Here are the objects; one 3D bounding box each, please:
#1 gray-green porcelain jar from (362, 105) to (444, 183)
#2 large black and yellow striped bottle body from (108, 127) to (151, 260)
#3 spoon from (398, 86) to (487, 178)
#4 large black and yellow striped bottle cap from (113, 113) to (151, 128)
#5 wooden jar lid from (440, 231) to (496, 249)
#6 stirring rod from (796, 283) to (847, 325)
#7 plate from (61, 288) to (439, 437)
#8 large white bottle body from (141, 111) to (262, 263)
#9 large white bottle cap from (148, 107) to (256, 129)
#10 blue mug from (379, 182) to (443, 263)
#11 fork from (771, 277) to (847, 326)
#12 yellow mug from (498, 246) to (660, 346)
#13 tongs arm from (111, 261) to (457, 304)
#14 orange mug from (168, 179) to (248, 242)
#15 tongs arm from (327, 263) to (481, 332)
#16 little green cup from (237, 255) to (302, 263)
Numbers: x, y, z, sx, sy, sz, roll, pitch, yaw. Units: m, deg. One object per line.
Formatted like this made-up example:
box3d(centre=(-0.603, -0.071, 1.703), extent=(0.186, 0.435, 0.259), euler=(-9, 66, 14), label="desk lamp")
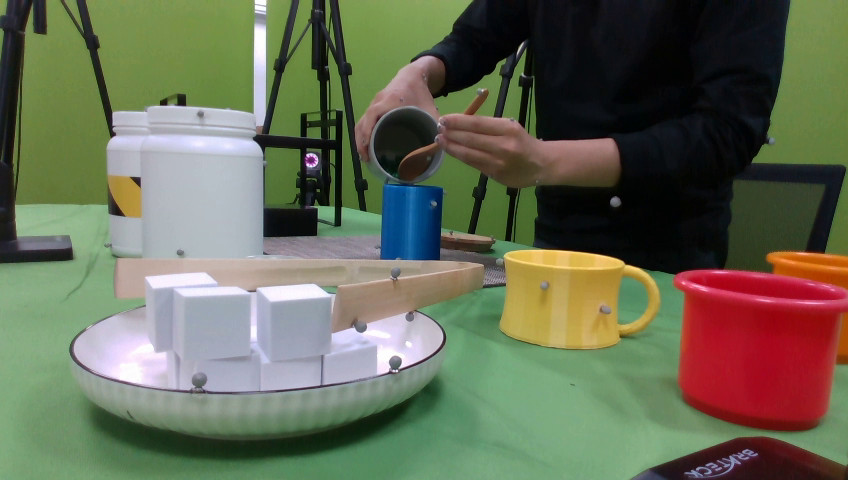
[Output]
box3d(centre=(-0.035, -0.135, 0.883), extent=(0.106, 0.105, 0.126), euler=(1, 3, -12), label="gray-green porcelain jar")
box3d(centre=(-0.350, -0.071, 0.812), extent=(0.131, 0.184, 0.130), euler=(2, 7, 0), label="large black and yellow striped bottle body")
box3d(centre=(0.023, -0.130, 0.759), extent=(0.042, 0.021, 0.193), euler=(3, -24, -34), label="spoon")
box3d(centre=(-0.348, -0.154, 0.800), extent=(0.115, 0.019, 0.115), euler=(2, 6, 0), label="large black and yellow striped bottle cap")
box3d(centre=(0.066, 0.000, 1.011), extent=(0.108, 0.020, 0.108), euler=(6, 7, 0), label="wooden jar lid")
box3d(centre=(0.346, 0.019, 0.460), extent=(0.014, 0.176, 0.006), euler=(-16, 59, -26), label="stirring rod")
box3d(centre=(-0.095, 0.069, 0.362), extent=(0.208, 0.039, 0.207), euler=(3, 7, 0), label="plate")
box3d(centre=(-0.254, -0.053, 0.697), extent=(0.131, 0.184, 0.130), euler=(2, 7, 0), label="large white bottle body")
box3d(centre=(-0.250, -0.137, 0.686), extent=(0.115, 0.018, 0.115), euler=(2, 8, 0), label="large white bottle cap")
box3d(centre=(-0.019, -0.026, 0.833), extent=(0.082, 0.106, 0.116), euler=(2, 7, -7), label="blue mug")
box3d(centre=(0.335, 0.018, 0.443), extent=(0.028, 0.018, 0.207), euler=(-1, -36, -20), label="fork")
box3d(centre=(0.130, 0.045, 0.508), extent=(0.131, 0.064, 0.100), euler=(4, 7, 6), label="yellow mug")
box3d(centre=(-0.080, 0.032, 0.527), extent=(0.028, 0.027, 0.389), euler=(-3, -3, 33), label="tongs arm")
box3d(centre=(-0.351, -0.050, 0.986), extent=(0.126, 0.101, 0.083), euler=(-4, 8, -9), label="orange mug")
box3d(centre=(-0.003, 0.036, 0.493), extent=(0.050, 0.026, 0.386), euler=(1, -1, 19), label="tongs arm")
box3d(centre=(-0.150, 0.038, 0.590), extent=(0.061, 0.038, 0.061), euler=(3, 7, 0), label="little green cup")
